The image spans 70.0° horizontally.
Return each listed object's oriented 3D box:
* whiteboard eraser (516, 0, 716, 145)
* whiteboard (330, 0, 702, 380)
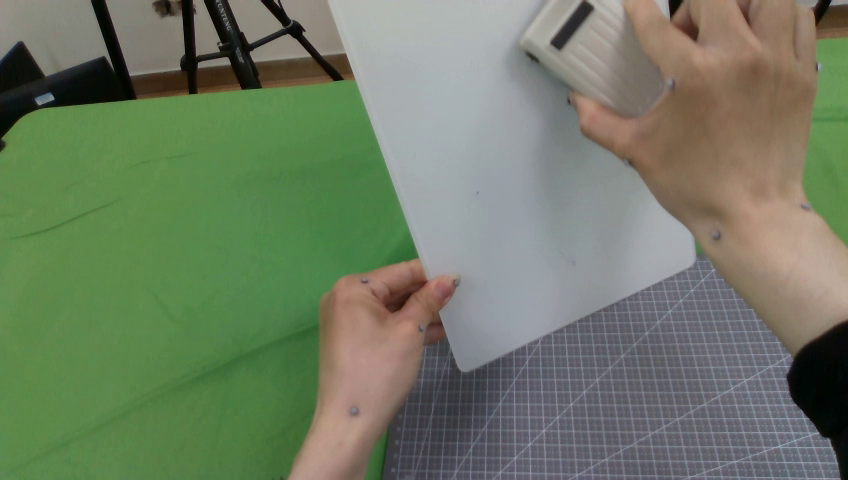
[{"bbox_3d":[0.115,-0.112,0.369,0.113,0.056,0.041,36,21,-6],"label":"whiteboard eraser"},{"bbox_3d":[0.064,-0.090,0.468,0.217,0.308,0.142,-23,26,-8],"label":"whiteboard"}]
